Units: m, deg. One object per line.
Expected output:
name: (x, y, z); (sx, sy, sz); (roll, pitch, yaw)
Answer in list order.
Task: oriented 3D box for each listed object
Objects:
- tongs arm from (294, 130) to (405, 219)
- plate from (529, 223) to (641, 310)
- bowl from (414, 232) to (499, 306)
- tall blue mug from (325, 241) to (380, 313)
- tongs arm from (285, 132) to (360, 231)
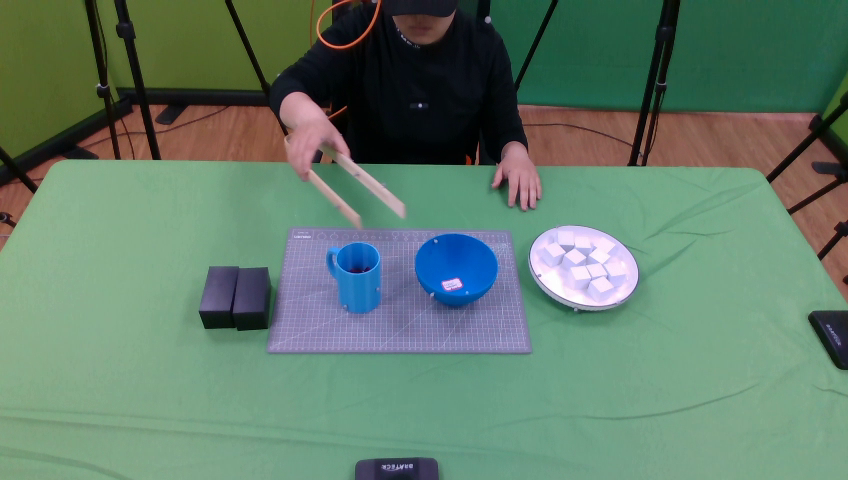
tongs arm: (-0.144, -0.124, 1.069); (0.051, 0.026, 0.382); (-18, 36, -23)
plate: (0.303, 0.053, 1.156); (0.209, 0.038, 0.208); (2, 46, -2)
bowl: (0.056, 0.066, 1.095); (0.151, 0.077, 0.150); (2, 47, -2)
tall blue mug: (-0.130, 0.063, 1.062); (0.107, 0.108, 0.077); (9, 47, 5)
tongs arm: (-0.183, -0.112, 1.050); (0.028, 0.028, 0.385); (-20, 36, -19)
